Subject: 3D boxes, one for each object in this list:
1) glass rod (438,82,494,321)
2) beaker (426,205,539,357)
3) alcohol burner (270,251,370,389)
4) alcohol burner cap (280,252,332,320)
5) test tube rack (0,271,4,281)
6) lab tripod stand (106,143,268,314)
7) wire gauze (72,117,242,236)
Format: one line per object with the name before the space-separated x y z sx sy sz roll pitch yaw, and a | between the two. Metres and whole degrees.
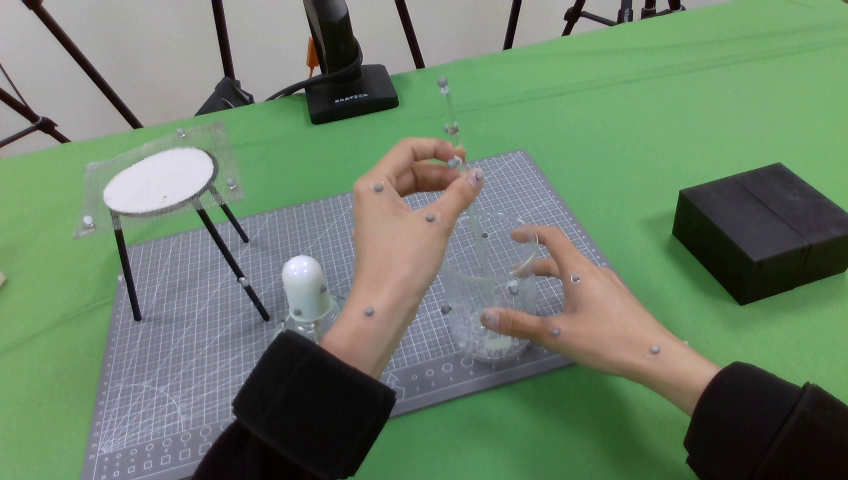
glass rod | 0.031 -0.015 0.420 0.008 0.202 0.008 -9 37 7
beaker | 0.047 0.036 0.466 0.084 0.101 0.073 -17 42 -8
alcohol burner | -0.082 0.056 0.454 0.078 0.120 0.077 -6 39 5
alcohol burner cap | -0.086 0.030 0.430 0.034 0.048 0.033 -4 39 4
test tube rack | -0.483 0.086 0.518 0.066 0.086 0.240 -2 42 8
lab tripod stand | -0.207 -0.004 0.529 0.148 0.133 0.147 -5 43 5
wire gauze | -0.215 -0.053 0.485 0.125 0.011 0.120 -19 42 -10
